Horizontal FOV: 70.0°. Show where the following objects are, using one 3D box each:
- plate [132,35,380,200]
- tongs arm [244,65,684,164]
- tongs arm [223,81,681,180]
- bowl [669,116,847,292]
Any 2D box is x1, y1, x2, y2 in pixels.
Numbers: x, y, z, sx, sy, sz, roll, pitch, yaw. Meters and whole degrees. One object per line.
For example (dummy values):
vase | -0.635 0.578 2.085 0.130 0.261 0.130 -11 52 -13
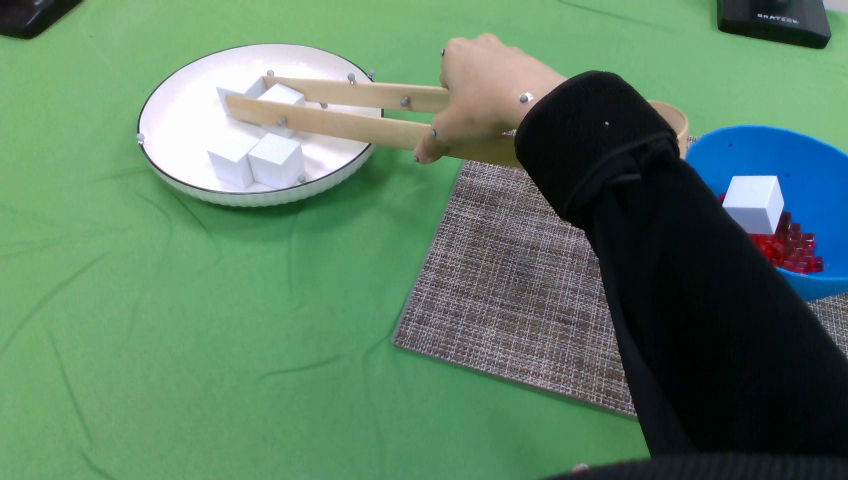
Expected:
plate | -0.144 -0.109 0.540 0.209 0.038 0.207 1 52 -1
tongs arm | -0.001 -0.104 0.470 0.382 0.027 0.050 11 47 25
tongs arm | -0.012 -0.090 0.457 0.385 0.028 0.028 15 45 28
bowl | 0.250 -0.014 0.450 0.151 0.077 0.150 1 51 -1
